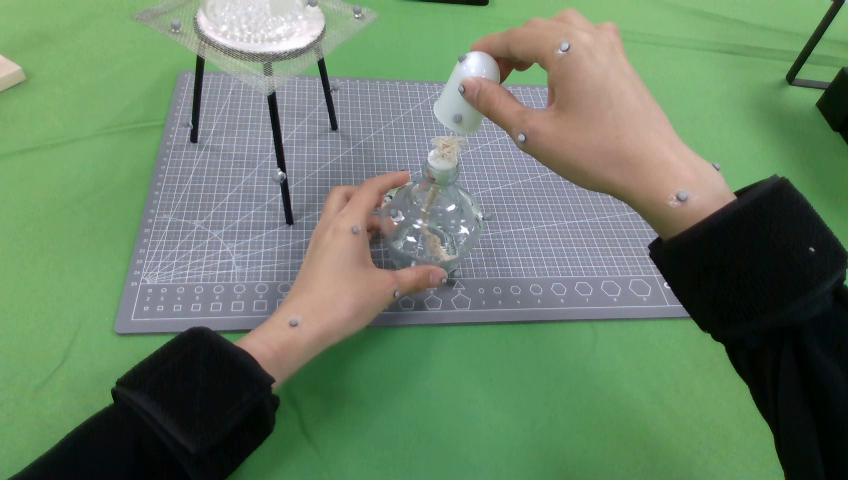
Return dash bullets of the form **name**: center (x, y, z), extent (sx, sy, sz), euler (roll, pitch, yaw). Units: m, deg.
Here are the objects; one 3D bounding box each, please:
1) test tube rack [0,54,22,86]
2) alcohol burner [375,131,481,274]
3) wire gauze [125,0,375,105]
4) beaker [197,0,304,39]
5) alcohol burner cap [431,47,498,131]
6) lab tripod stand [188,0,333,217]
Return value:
- **test tube rack**: center (-0.451, -0.121, 0.455), extent (0.066, 0.086, 0.241), euler (30, 51, 15)
- **alcohol burner**: center (0.006, -0.030, 0.434), extent (0.078, 0.120, 0.077), euler (6, 48, -6)
- **wire gauze**: center (-0.116, -0.155, 0.420), extent (0.124, 0.011, 0.121), euler (32, 55, 12)
- **beaker**: center (-0.114, -0.187, 0.382), extent (0.073, 0.101, 0.084), euler (31, 53, 16)
- **alcohol burner cap**: center (0.026, -0.092, 0.362), extent (0.034, 0.048, 0.033), euler (11, 50, -14)
- **lab tripod stand**: center (-0.122, -0.113, 0.469), extent (0.149, 0.132, 0.147), euler (6, 50, -7)
